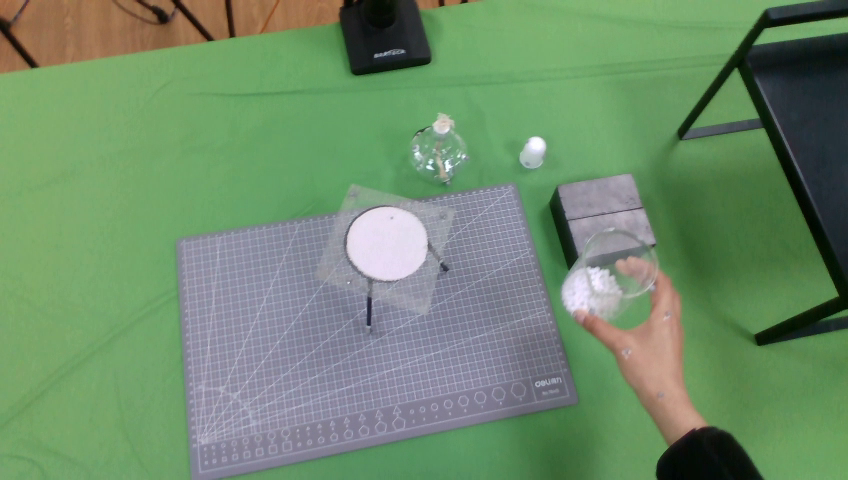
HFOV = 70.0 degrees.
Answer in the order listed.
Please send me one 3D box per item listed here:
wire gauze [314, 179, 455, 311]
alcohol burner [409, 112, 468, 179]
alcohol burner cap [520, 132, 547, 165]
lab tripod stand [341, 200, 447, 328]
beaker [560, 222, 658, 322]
[{"bbox_3d":[-0.039,0.001,0.640,0.125,0.011,0.121,17,69,4],"label":"wire gauze"},{"bbox_3d":[0.020,-0.129,0.777,0.078,0.120,0.077,1,68,-3],"label":"alcohol burner"},{"bbox_3d":[0.150,-0.126,0.819,0.034,0.048,0.033,0,69,-1],"label":"alcohol burner cap"},{"bbox_3d":[-0.041,0.019,0.705,0.148,0.132,0.147,1,67,-2],"label":"lab tripod stand"},{"bbox_3d":[0.186,0.040,0.631,0.073,0.101,0.084,37,67,14],"label":"beaker"}]
